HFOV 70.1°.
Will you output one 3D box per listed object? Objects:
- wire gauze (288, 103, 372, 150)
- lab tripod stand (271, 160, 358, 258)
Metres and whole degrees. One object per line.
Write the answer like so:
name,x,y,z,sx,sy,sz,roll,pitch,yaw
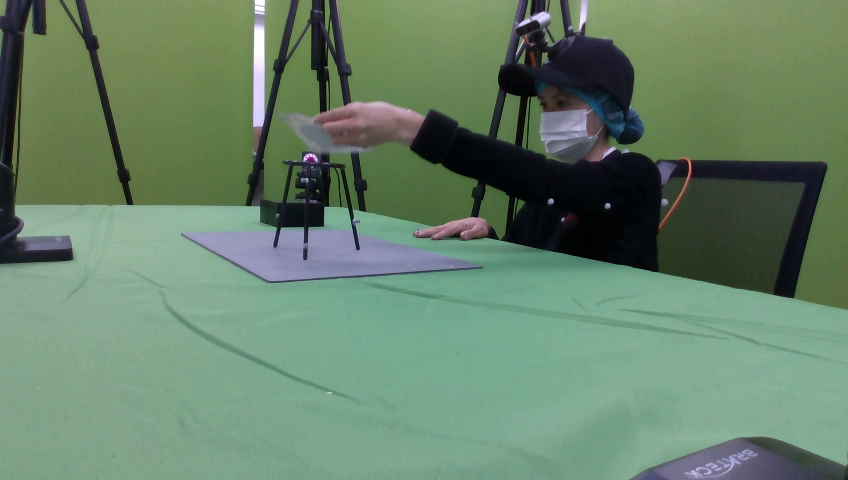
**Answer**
wire gauze,-0.149,-0.188,0.991,0.121,0.011,0.125,8,-20,4
lab tripod stand,-0.159,-0.048,0.876,0.148,0.131,0.148,3,5,0
